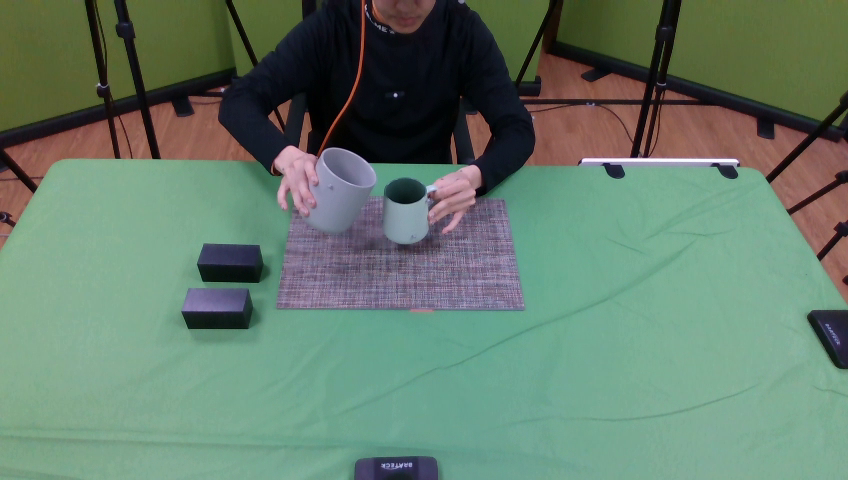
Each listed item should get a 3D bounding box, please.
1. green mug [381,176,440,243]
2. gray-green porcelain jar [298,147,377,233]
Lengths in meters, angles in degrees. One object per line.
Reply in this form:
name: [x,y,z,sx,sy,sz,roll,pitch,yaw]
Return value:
green mug: [-0.023,-0.062,1.144,0.125,0.105,0.092,-27,52,-25]
gray-green porcelain jar: [-0.158,-0.083,1.074,0.106,0.127,0.105,24,34,-17]
